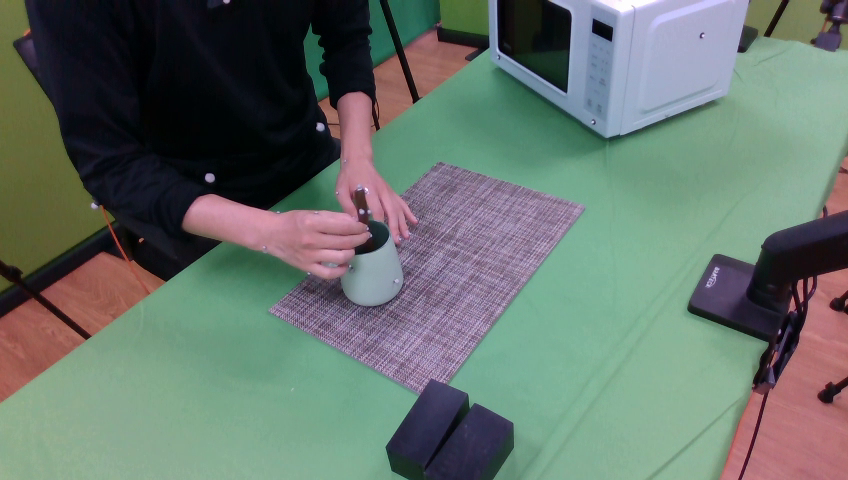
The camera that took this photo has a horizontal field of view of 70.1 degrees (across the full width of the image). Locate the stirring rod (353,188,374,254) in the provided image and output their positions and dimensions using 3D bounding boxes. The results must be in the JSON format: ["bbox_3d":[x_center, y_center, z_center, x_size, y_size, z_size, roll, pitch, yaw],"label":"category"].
[{"bbox_3d":[-0.077,-0.001,0.815,0.014,0.177,0.005,-22,47,-17],"label":"stirring rod"}]

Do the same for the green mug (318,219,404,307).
[{"bbox_3d":[-0.096,0.032,0.877,0.125,0.105,0.092,8,44,17],"label":"green mug"}]

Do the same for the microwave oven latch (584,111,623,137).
[{"bbox_3d":[0.337,-0.222,1.142,0.030,0.029,0.078,-21,42,-14],"label":"microwave oven latch"}]

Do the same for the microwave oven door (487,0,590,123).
[{"bbox_3d":[0.232,-0.420,1.230,0.039,0.245,0.352,-22,43,-16],"label":"microwave oven door"}]

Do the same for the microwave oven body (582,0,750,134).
[{"bbox_3d":[0.382,-0.445,1.246,0.327,0.261,0.437,-22,42,-16],"label":"microwave oven body"}]
